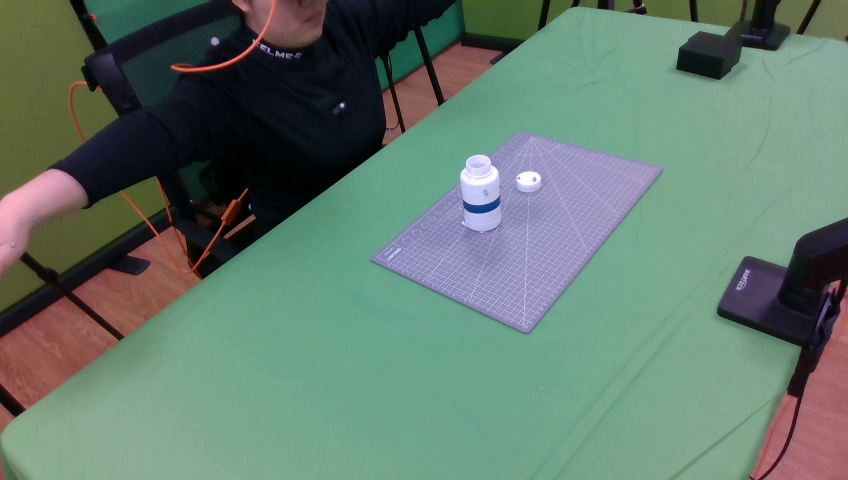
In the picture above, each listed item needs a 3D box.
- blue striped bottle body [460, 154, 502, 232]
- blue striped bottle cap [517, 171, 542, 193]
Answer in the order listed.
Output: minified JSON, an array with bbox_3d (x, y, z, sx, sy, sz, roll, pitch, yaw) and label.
[{"bbox_3d":[0.092,-0.078,0.976,0.063,0.121,0.063,-6,40,5],"label":"blue striped bottle body"},{"bbox_3d":[0.187,-0.103,1.072,0.044,0.021,0.044,-5,42,5],"label":"blue striped bottle cap"}]
